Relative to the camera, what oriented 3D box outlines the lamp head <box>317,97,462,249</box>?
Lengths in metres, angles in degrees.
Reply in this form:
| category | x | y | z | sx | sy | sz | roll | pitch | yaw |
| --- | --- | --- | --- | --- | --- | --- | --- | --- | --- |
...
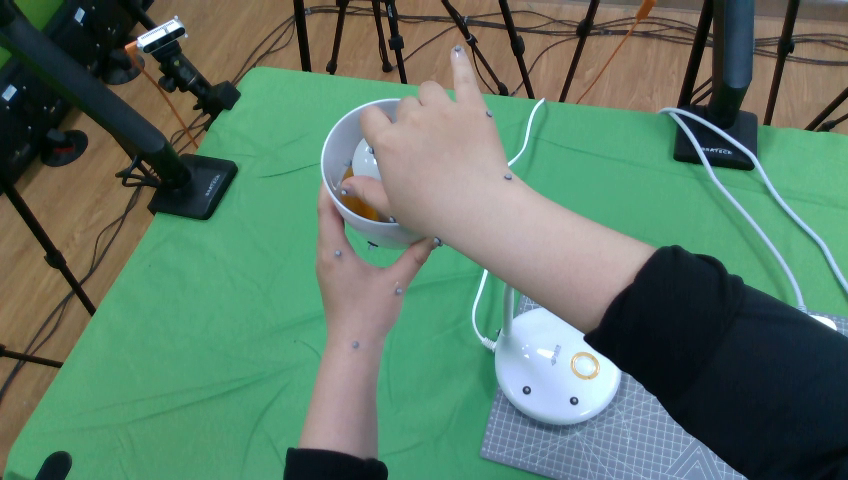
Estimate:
| category | x | y | z | sx | sy | sz | roll | pitch | yaw |
| --- | --- | --- | --- | --- | --- | --- | --- | --- | --- |
| lamp head | -0.022 | -0.041 | 0.513 | 0.112 | 0.124 | 0.111 | -2 | 66 | 5 |

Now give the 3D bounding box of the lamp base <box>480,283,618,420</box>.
| category | x | y | z | sx | sy | sz | roll | pitch | yaw |
| --- | --- | --- | --- | --- | --- | --- | --- | --- | --- |
| lamp base | 0.147 | 0.113 | 0.727 | 0.178 | 0.182 | 0.159 | 5 | 58 | 15 |

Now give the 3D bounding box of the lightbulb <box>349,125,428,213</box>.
| category | x | y | z | sx | sy | sz | roll | pitch | yaw |
| --- | --- | --- | --- | --- | --- | --- | --- | --- | --- |
| lightbulb | -0.027 | -0.049 | 0.482 | 0.059 | 0.108 | 0.059 | 1 | 72 | -1 |

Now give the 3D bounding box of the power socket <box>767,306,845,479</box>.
| category | x | y | z | sx | sy | sz | roll | pitch | yaw |
| --- | --- | --- | --- | --- | --- | --- | --- | --- | --- |
| power socket | 0.455 | 0.180 | 0.728 | 0.072 | 0.033 | 0.225 | 10 | 59 | 13 |
